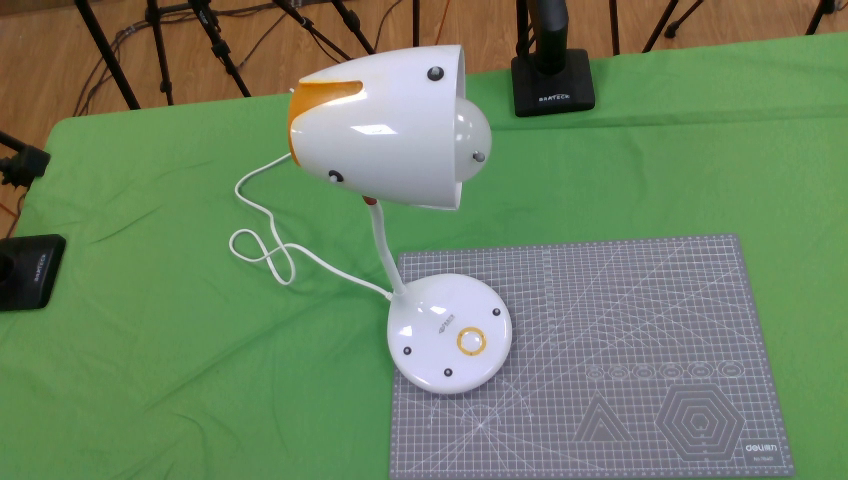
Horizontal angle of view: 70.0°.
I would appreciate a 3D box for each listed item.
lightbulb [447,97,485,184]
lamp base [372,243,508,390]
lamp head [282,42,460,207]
[{"bbox_3d":[-0.012,-0.066,0.417,0.107,0.060,0.059,-2,63,10],"label":"lightbulb"},{"bbox_3d":[0.004,0.073,0.710,0.178,0.182,0.160,20,67,22],"label":"lamp base"},{"bbox_3d":[-0.034,-0.078,0.424,0.122,0.113,0.111,0,63,11],"label":"lamp head"}]
